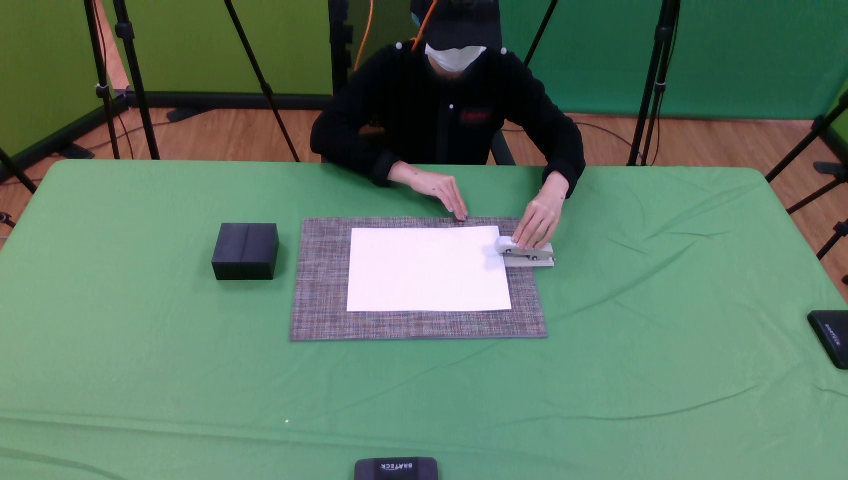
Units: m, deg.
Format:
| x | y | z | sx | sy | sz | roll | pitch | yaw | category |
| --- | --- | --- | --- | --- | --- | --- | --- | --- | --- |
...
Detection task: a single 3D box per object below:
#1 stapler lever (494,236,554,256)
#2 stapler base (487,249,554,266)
| x | y | z | sx | sy | sz | roll | pitch | yaw | category |
| --- | --- | --- | --- | --- | --- | --- | --- | --- | --- |
| 0.192 | 0.012 | 1.161 | 0.118 | 0.040 | 0.026 | 0 | 48 | -6 | stapler lever |
| 0.189 | 0.029 | 1.177 | 0.131 | 0.024 | 0.041 | 0 | 48 | -7 | stapler base |
